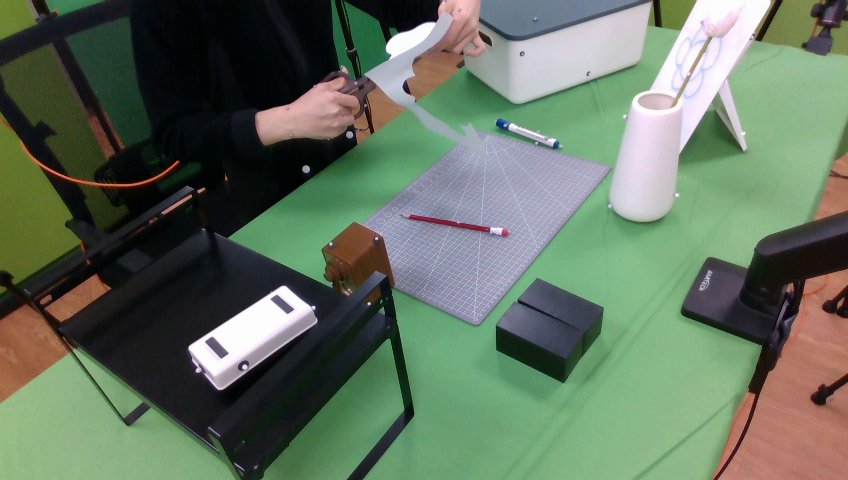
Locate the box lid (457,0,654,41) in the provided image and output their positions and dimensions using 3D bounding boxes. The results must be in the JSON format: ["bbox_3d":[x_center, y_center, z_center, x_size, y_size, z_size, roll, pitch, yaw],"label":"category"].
[{"bbox_3d":[0.285,-0.522,1.323,0.373,0.015,0.261,-22,43,-16],"label":"box lid"}]

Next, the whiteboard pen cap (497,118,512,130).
[{"bbox_3d":[0.165,-0.235,1.227,0.033,0.018,0.018,31,53,31],"label":"whiteboard pen cap"}]

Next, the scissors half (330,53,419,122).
[{"bbox_3d":[-0.076,-0.237,0.942,0.174,0.040,0.013,-34,16,23],"label":"scissors half"}]

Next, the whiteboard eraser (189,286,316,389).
[{"bbox_3d":[-0.166,0.096,0.593,0.113,0.042,0.055,-36,47,-29],"label":"whiteboard eraser"}]

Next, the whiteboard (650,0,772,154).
[{"bbox_3d":[0.543,-0.298,1.076,0.144,0.305,0.216,12,40,-7],"label":"whiteboard"}]

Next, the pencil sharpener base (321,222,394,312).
[{"bbox_3d":[-0.096,0.041,0.873,0.061,0.107,0.077,26,54,32],"label":"pencil sharpener base"}]

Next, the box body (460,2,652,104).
[{"bbox_3d":[0.291,-0.465,1.371,0.365,0.161,0.252,-22,42,-16],"label":"box body"}]

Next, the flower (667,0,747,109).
[{"bbox_3d":[0.354,-0.187,0.879,0.038,0.362,0.044,30,48,14],"label":"flower"}]

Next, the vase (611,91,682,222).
[{"bbox_3d":[0.348,-0.125,0.935,0.098,0.201,0.097,-3,40,3],"label":"vase"}]

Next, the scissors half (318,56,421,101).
[{"bbox_3d":[-0.087,-0.254,0.935,0.175,0.040,0.013,-13,28,15],"label":"scissors half"}]

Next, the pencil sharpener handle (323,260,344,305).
[{"bbox_3d":[-0.131,0.062,0.839,0.035,0.068,0.031,29,55,28],"label":"pencil sharpener handle"}]

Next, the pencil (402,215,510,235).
[{"bbox_3d":[0.049,-0.027,1.007,0.193,0.012,0.012,10,43,22],"label":"pencil"}]

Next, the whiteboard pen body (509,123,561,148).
[{"bbox_3d":[0.209,-0.211,1.196,0.139,0.017,0.017,30,52,33],"label":"whiteboard pen body"}]
